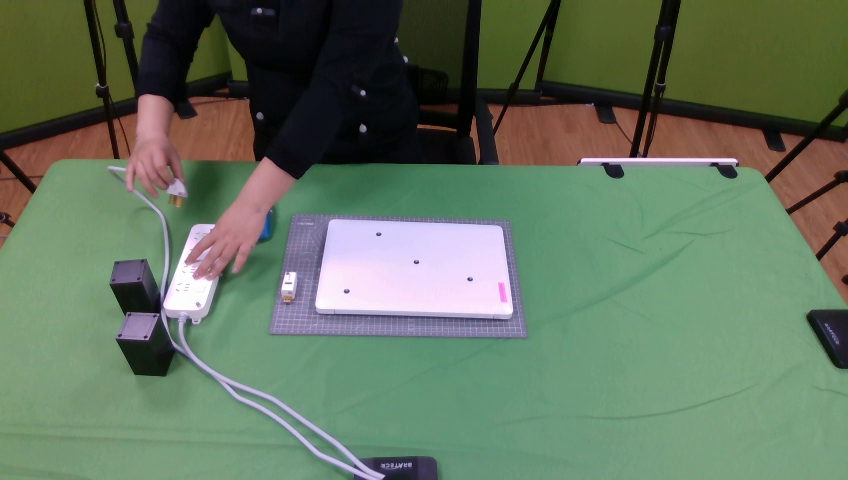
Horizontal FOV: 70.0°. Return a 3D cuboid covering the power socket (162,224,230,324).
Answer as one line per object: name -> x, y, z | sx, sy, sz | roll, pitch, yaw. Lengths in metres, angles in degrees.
power socket -> -0.412, 0.052, 1.107 | 0.072, 0.033, 0.225 | 3, 46, -3

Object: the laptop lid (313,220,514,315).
laptop lid -> -0.017, 0.045, 1.138 | 0.357, 0.013, 0.240 | 3, 43, -1

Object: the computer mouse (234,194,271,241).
computer mouse -> -0.341, -0.049, 1.208 | 0.063, 0.041, 0.116 | 0, 51, -8

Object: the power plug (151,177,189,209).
power plug -> -0.472, -0.088, 1.127 | 0.072, 0.035, 0.052 | 9, 89, 22

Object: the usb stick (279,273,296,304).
usb stick -> -0.245, 0.088, 1.085 | 0.021, 0.027, 0.059 | 5, 46, -3

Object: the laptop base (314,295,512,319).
laptop base -> -0.018, 0.055, 1.144 | 0.354, 0.023, 0.234 | 2, 42, -2
